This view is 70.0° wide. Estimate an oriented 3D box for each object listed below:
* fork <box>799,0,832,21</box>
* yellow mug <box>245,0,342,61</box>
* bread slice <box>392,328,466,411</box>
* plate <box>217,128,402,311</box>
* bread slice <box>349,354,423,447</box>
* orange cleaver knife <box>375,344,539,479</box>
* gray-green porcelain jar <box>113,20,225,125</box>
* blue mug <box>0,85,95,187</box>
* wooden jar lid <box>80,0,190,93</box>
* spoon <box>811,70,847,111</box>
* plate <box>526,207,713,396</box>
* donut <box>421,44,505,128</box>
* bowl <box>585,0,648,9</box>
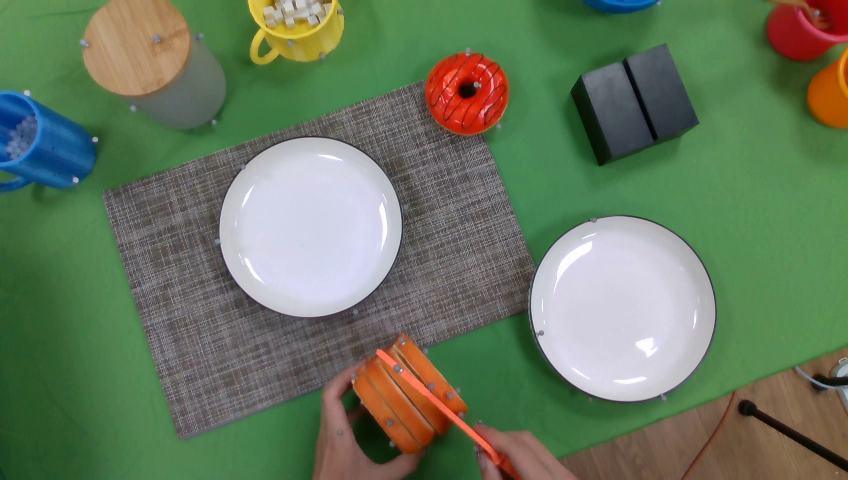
[{"bbox_3d":[0.409,-0.264,0.666,0.208,0.018,0.028,-9,83,-43],"label":"fork"},{"bbox_3d":[-0.160,-0.262,0.706,0.100,0.064,0.131,38,86,4],"label":"yellow mug"},{"bbox_3d":[0.005,0.138,0.632,0.018,0.134,0.107,-41,87,-9],"label":"bread slice"},{"bbox_3d":[-0.127,-0.022,0.694,0.208,0.039,0.207,0,85,0],"label":"plate"},{"bbox_3d":[-0.040,0.167,0.632,0.019,0.132,0.104,-40,86,-5],"label":"bread slice"},{"bbox_3d":[0.035,0.160,0.534,0.012,0.076,0.213,-49,116,-11],"label":"orange cleaver knife"},{"bbox_3d":[-0.287,-0.190,0.669,0.106,0.127,0.105,0,84,0],"label":"gray-green porcelain jar"},{"bbox_3d":[-0.446,-0.102,0.670,0.082,0.106,0.116,44,86,5],"label":"blue mug"},{"bbox_3d":[-0.287,-0.198,0.607,0.108,0.021,0.108,0,83,1],"label":"wooden jar lid"},{"bbox_3d":[0.529,-0.200,0.659,0.022,0.193,0.041,-18,82,-46],"label":"spoon"},{"bbox_3d":[0.218,0.069,0.689,0.209,0.038,0.208,0,85,0],"label":"plate"},{"bbox_3d":[0.046,-0.179,0.705,0.099,0.048,0.099,0,85,0],"label":"donut"},{"bbox_3d":[0.221,-0.332,0.707,0.151,0.077,0.151,0,85,0],"label":"bowl"}]
